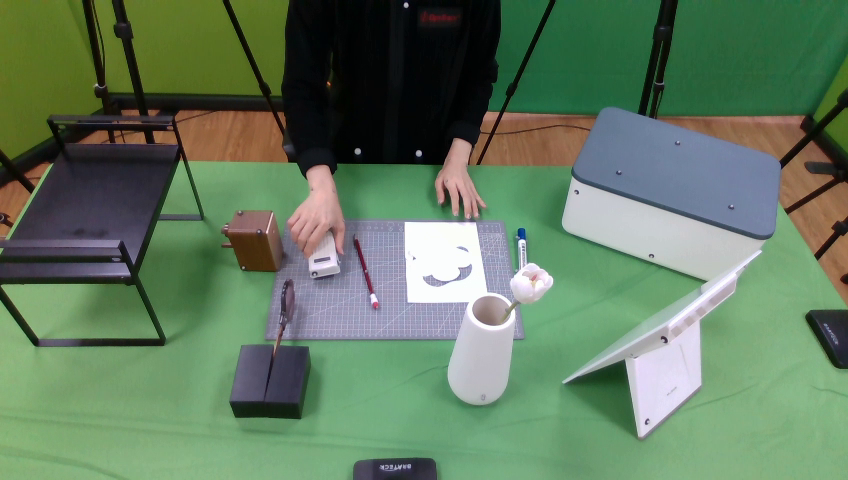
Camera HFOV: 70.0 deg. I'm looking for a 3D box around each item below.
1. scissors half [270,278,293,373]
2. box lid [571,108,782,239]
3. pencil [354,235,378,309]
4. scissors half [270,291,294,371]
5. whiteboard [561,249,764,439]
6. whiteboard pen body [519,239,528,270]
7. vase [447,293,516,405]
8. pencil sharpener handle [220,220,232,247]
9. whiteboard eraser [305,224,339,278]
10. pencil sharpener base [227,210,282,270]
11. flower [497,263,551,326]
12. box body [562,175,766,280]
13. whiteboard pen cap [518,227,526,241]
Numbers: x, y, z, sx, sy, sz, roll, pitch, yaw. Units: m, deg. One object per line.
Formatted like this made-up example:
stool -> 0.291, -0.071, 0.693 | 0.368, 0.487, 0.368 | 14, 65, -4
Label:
scissors half -> -0.236, 0.137, 0.994 | 0.013, 0.040, 0.174 | 0, 55, 3
box lid -> 0.491, -0.139, 1.168 | 0.370, 0.015, 0.262 | 21, 49, 15
pencil -> -0.113, 0.055, 1.143 | 0.012, 0.012, 0.192 | -10, 46, -13
scissors half -> -0.237, 0.151, 1.009 | 0.013, 0.040, 0.174 | 4, 38, -1
whiteboard -> 0.386, 0.176, 0.905 | 0.217, 0.306, 0.143 | -26, 72, -26
whiteboard pen body -> 0.193, 0.035, 1.181 | 0.017, 0.017, 0.140 | 6, 48, 1
vase -> 0.091, 0.169, 0.921 | 0.098, 0.201, 0.097 | 3, 47, -3
pencil sharpener handle -> -0.362, -0.009, 1.105 | 0.030, 0.068, 0.036 | 1, 52, 1
whiteboard eraser -> -0.193, 0.022, 1.144 | 0.055, 0.042, 0.112 | -9, 48, -7
pencil sharpener base -> -0.311, 0.001, 1.112 | 0.077, 0.107, 0.061 | 1, 47, 1
flower -> 0.102, 0.121, 0.852 | 0.044, 0.363, 0.038 | -2, 64, -10
box body -> 0.486, -0.088, 1.222 | 0.363, 0.161, 0.253 | 20, 48, 15
whiteboard pen cap -> 0.197, -0.009, 1.220 | 0.018, 0.018, 0.033 | 5, 50, 1
